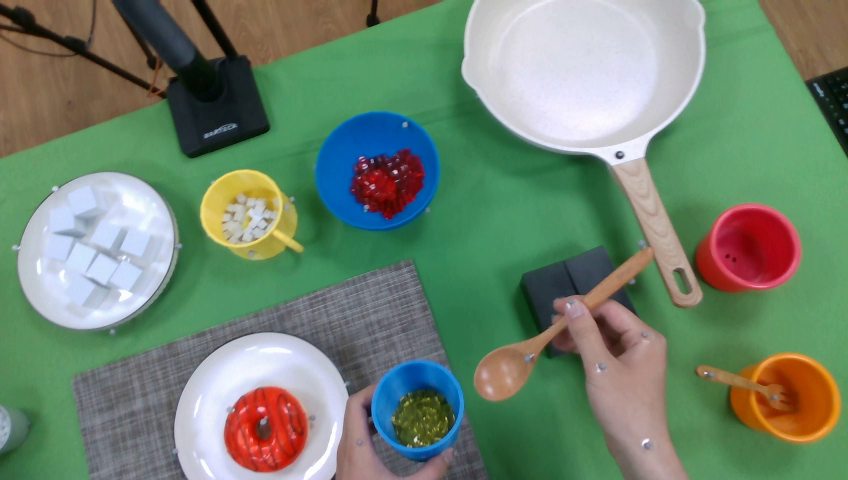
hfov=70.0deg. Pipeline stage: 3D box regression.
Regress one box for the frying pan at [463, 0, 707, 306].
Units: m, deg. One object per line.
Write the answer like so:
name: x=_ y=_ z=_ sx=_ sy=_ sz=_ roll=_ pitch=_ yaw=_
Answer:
frying pan: x=0.222 y=-0.148 z=0.735 sx=0.307 sy=0.103 sz=0.483 roll=-14 pitch=68 yaw=2

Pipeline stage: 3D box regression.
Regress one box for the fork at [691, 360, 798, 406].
fork: x=0.339 y=0.148 z=0.631 sx=0.209 sy=0.018 sz=0.028 roll=21 pitch=74 yaw=-36

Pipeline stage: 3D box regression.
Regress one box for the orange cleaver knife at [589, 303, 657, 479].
orange cleaver knife: x=0.218 y=0.167 z=0.670 sx=0.012 sy=0.077 sz=0.212 roll=-20 pitch=105 yaw=-1

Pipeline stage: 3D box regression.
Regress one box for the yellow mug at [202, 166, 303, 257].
yellow mug: x=-0.204 y=-0.026 z=0.756 sx=0.130 sy=0.064 sz=0.100 roll=33 pitch=80 yaw=10

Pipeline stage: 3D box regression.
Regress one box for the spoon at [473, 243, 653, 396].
spoon: x=0.114 y=0.069 z=0.507 sx=0.194 sy=0.022 sz=0.041 roll=-45 pitch=75 yaw=25

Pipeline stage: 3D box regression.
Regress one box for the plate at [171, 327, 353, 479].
plate: x=-0.185 y=0.207 z=0.707 sx=0.209 sy=0.038 sz=0.208 roll=-1 pitch=77 yaw=4

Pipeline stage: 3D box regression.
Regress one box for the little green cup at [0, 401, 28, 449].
little green cup: x=-0.515 y=0.224 z=0.730 sx=0.061 sy=0.039 sz=0.061 roll=-1 pitch=77 yaw=3

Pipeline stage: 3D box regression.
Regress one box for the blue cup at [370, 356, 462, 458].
blue cup: x=-0.003 y=0.172 z=0.593 sx=0.092 sy=0.101 sz=0.092 roll=-2 pitch=59 yaw=4

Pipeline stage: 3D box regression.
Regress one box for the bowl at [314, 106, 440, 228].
bowl: x=-0.053 y=-0.080 z=0.752 sx=0.151 sy=0.077 sz=0.150 roll=-1 pitch=77 yaw=4

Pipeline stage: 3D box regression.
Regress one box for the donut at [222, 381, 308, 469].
donut: x=-0.182 y=0.212 z=0.695 sx=0.099 sy=0.048 sz=0.098 roll=-1 pitch=80 yaw=3

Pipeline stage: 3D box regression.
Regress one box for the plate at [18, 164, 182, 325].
plate: x=-0.408 y=0.007 z=0.776 sx=0.207 sy=0.039 sz=0.206 roll=-1 pitch=76 yaw=4
